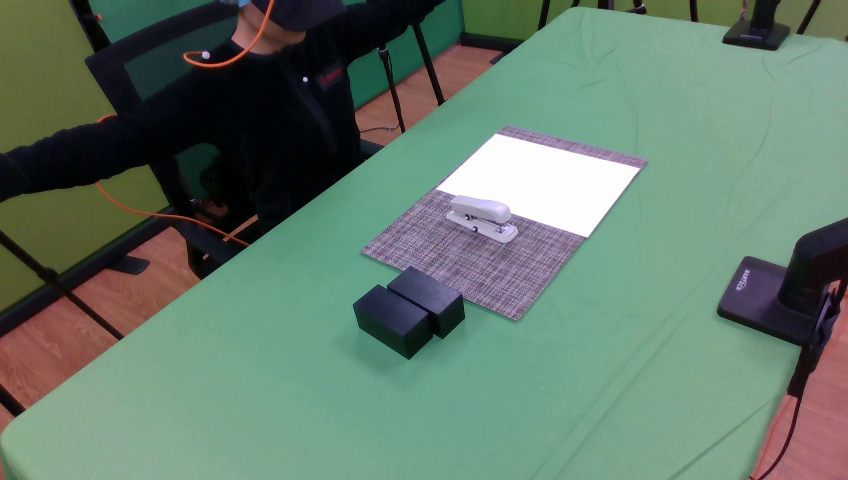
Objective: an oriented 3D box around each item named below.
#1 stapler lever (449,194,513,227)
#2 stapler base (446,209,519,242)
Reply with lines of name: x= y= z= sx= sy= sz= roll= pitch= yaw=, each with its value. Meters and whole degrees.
stapler lever: x=0.092 y=-0.054 z=0.985 sx=0.117 sy=0.040 sz=0.027 roll=25 pitch=48 yaw=35
stapler base: x=0.096 y=-0.035 z=1.000 sx=0.129 sy=0.024 sz=0.041 roll=24 pitch=48 yaw=35
